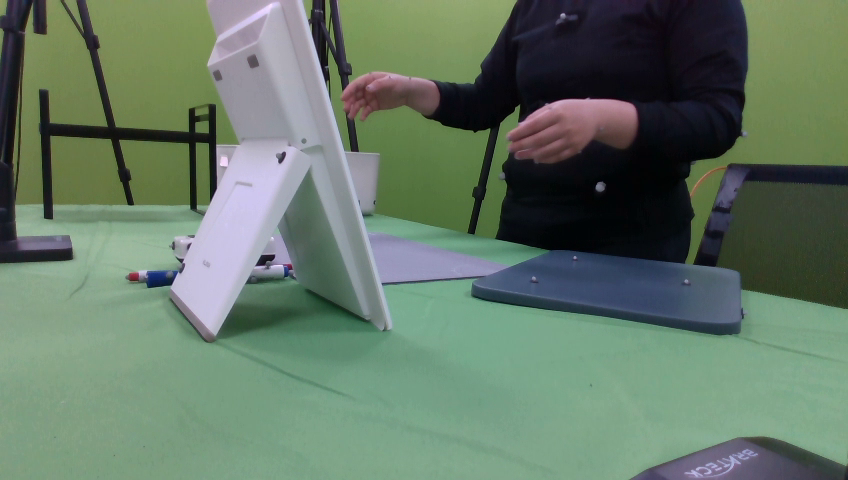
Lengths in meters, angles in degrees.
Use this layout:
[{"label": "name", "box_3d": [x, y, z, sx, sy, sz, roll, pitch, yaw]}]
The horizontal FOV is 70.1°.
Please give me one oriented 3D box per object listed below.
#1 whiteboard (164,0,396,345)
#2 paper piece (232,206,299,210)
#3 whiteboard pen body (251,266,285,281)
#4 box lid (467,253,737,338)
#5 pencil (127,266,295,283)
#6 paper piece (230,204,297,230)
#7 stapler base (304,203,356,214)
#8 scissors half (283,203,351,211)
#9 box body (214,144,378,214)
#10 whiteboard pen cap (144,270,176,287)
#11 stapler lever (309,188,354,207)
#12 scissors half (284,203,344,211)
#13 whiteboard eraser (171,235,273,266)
[{"label": "whiteboard", "box_3d": [-0.173, -0.053, 0.511, 0.144, 0.305, 0.216, -23, 19, -26]}, {"label": "paper piece", "box_3d": [-0.388, -0.079, 1.466, 0.136, 0.004, 0.135, -2, 7, -30]}, {"label": "whiteboard pen body", "box_3d": [-0.220, 0.039, 0.656, 0.141, 0.017, 0.017, -2, 9, -31]}, {"label": "box lid", "box_3d": [0.234, 0.054, 0.736, 0.262, 0.015, 0.373, 7, 8, 26]}, {"label": "pencil", "box_3d": [-0.231, 0.037, 0.691, 0.195, 0.012, 0.012, -2, 9, -34]}, {"label": "paper piece", "box_3d": [-0.392, -0.059, 1.469, 0.139, 0.008, 0.135, -8, 28, -25]}, {"label": "stapler base", "box_3d": [-0.235, -0.081, 1.510, 0.131, 0.024, 0.041, 2, 9, -35]}, {"label": "scissors half", "box_3d": [-0.269, -0.081, 1.534, 0.176, 0.013, 0.040, -6, 9, -23]}, {"label": "box body", "box_3d": [-0.328, -0.154, 1.543, 0.366, 0.160, 0.253, -2, 9, -32]}, {"label": "whiteboard pen cap", "box_3d": [-0.271, 0.039, 0.627, 0.033, 0.018, 0.018, -3, 10, -33]}, {"label": "stapler lever", "box_3d": [-0.231, -0.106, 1.509, 0.119, 0.040, 0.026, 3, 9, -35]}, {"label": "scissors half", "box_3d": [-0.281, -0.083, 1.552, 0.176, 0.013, 0.040, -9, 6, -44]}, {"label": "whiteboard eraser", "box_3d": [-0.248, 0.014, 0.747, 0.113, 0.042, 0.055, -1, 10, -32]}]
